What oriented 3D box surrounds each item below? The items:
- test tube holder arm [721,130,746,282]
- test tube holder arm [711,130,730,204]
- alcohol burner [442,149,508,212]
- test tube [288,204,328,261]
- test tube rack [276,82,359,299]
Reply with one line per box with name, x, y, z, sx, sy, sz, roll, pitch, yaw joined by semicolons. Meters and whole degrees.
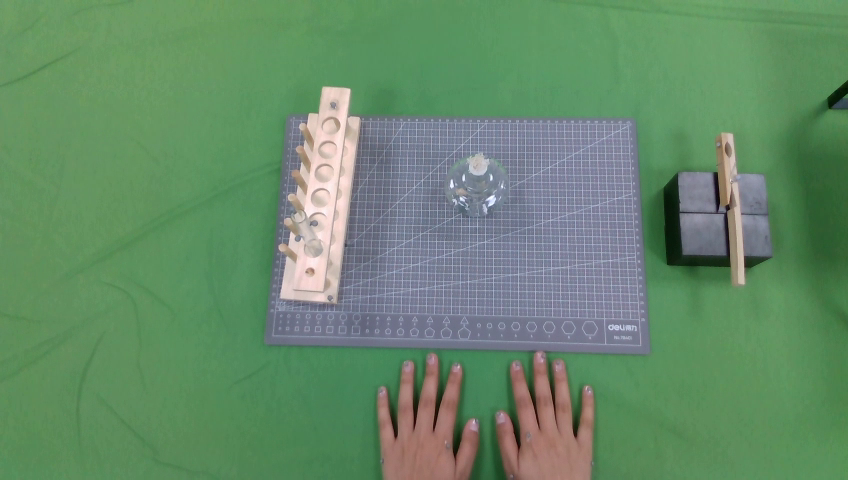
test tube holder arm;0.347;-0.040;0.685;0.013;0.015;0.177;0;76;-4
test tube holder arm;0.342;-0.084;0.696;0.010;0.015;0.087;2;75;-3
alcohol burner;0.060;-0.074;0.699;0.078;0.119;0.077;-1;77;3
test tube;-0.122;-0.003;0.649;0.017;0.151;0.017;0;70;0
test tube rack;-0.130;-0.058;0.715;0.067;0.085;0.241;5;76;3
